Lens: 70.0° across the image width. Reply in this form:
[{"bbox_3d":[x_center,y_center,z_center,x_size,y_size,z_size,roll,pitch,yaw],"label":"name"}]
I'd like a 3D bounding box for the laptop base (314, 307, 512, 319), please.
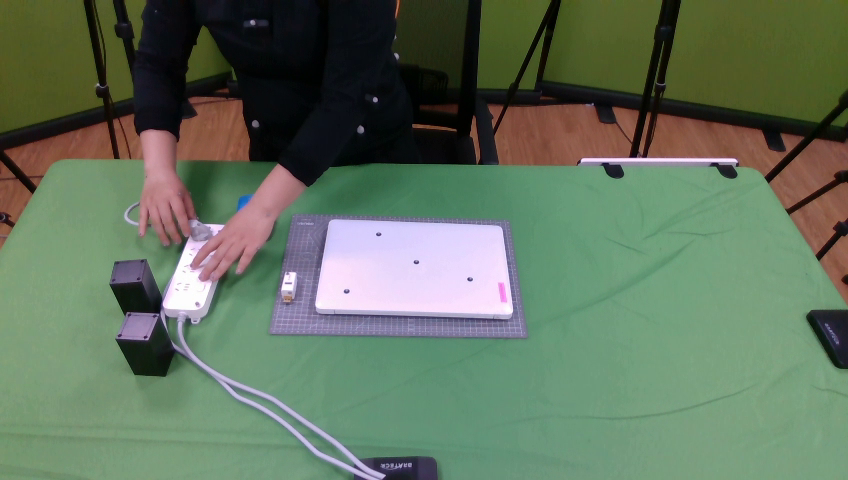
[{"bbox_3d":[-0.018,0.055,1.144,0.354,0.023,0.234,2,42,-2],"label":"laptop base"}]

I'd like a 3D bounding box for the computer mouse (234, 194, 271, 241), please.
[{"bbox_3d":[-0.341,-0.049,1.208,0.063,0.041,0.116,1,51,-7],"label":"computer mouse"}]

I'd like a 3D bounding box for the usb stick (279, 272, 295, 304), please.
[{"bbox_3d":[-0.246,0.088,1.085,0.021,0.027,0.059,4,48,-4],"label":"usb stick"}]

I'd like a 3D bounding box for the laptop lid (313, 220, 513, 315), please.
[{"bbox_3d":[-0.017,0.045,1.138,0.357,0.013,0.240,3,43,-1],"label":"laptop lid"}]

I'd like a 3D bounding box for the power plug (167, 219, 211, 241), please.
[{"bbox_3d":[-0.438,-0.017,1.143,0.072,0.053,0.035,11,45,6],"label":"power plug"}]

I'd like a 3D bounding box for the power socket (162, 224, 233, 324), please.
[{"bbox_3d":[-0.410,0.052,1.107,0.072,0.033,0.225,4,45,-1],"label":"power socket"}]
